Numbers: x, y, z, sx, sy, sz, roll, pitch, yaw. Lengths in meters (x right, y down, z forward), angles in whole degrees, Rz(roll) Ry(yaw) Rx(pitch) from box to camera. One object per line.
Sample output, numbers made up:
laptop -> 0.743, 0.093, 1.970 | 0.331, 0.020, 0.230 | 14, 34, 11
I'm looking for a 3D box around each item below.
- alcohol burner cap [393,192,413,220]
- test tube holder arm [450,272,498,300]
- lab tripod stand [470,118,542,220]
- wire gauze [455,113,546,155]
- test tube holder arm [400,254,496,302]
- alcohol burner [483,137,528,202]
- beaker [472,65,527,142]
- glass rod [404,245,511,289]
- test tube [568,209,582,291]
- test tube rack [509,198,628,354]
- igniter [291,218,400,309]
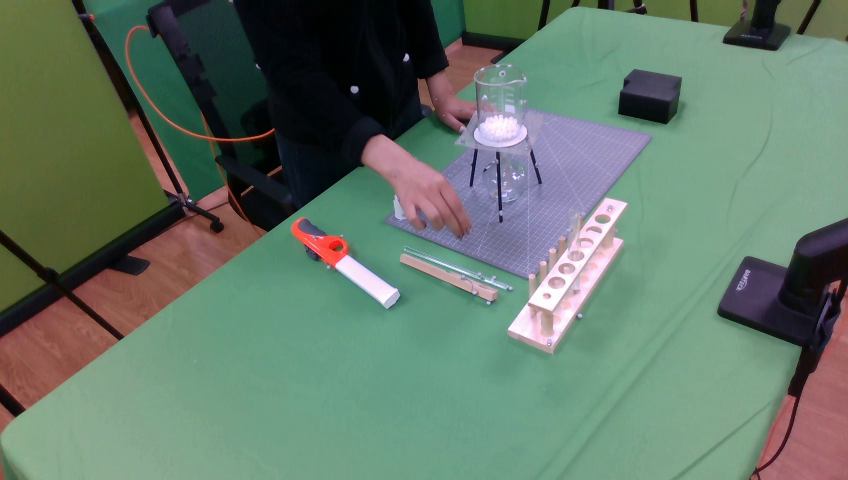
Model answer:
alcohol burner cap -> -0.038, -0.061, 1.043 | 0.034, 0.048, 0.033 | -5, 40, 5
test tube holder arm -> 0.071, 0.068, 0.895 | 0.087, 0.015, 0.010 | 22, 17, 33
lab tripod stand -> 0.135, -0.128, 1.019 | 0.148, 0.132, 0.147 | -5, 38, 5
wire gauze -> 0.124, -0.175, 0.973 | 0.124, 0.011, 0.121 | 8, 39, 21
test tube holder arm -> 0.033, 0.054, 0.914 | 0.177, 0.015, 0.013 | 21, 17, 33
alcohol burner -> 0.138, -0.125, 1.030 | 0.078, 0.119, 0.077 | -4, 41, 4
beaker -> 0.120, -0.211, 0.942 | 0.083, 0.101, 0.074 | 10, 42, 22
glass rod -> 0.047, 0.040, 0.939 | 0.198, 0.008, 0.008 | 21, 49, 31
test tube -> 0.200, 0.018, 0.799 | 0.017, 0.151, 0.017 | -8, 45, 8
test tube rack -> 0.206, 0.039, 0.850 | 0.066, 0.085, 0.243 | 20, 48, 31
igniter -> -0.136, 0.031, 0.970 | 0.057, 0.025, 0.274 | -41, 49, -19
